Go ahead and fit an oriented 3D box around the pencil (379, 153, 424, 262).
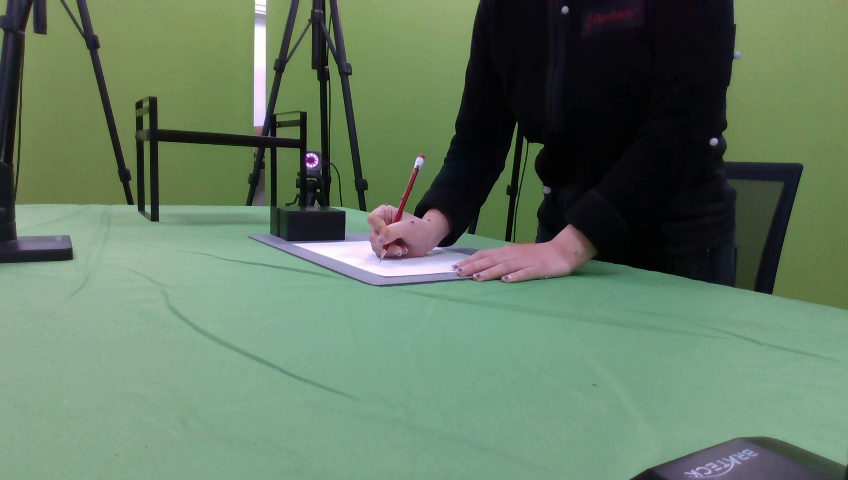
[{"bbox_3d":[-0.032,-0.050,0.860,0.012,0.194,0.012,15,-30,9],"label":"pencil"}]
